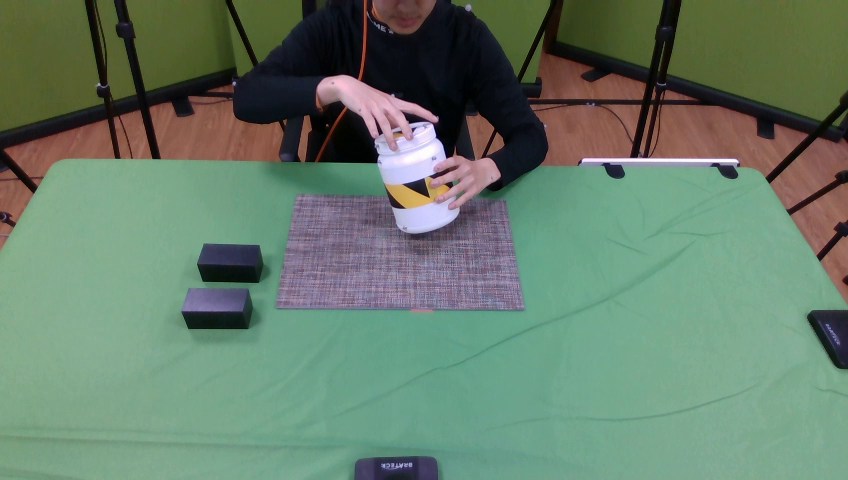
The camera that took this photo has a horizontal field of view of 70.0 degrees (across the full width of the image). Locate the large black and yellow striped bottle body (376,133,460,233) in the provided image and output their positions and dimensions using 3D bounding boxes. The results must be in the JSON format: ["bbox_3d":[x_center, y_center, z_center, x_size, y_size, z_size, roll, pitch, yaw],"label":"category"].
[{"bbox_3d":[-0.014,-0.122,1.164,0.131,0.185,0.130,-15,23,7],"label":"large black and yellow striped bottle body"}]

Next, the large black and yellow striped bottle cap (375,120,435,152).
[{"bbox_3d":[-0.036,-0.194,1.130,0.115,0.019,0.114,-16,23,7],"label":"large black and yellow striped bottle cap"}]
